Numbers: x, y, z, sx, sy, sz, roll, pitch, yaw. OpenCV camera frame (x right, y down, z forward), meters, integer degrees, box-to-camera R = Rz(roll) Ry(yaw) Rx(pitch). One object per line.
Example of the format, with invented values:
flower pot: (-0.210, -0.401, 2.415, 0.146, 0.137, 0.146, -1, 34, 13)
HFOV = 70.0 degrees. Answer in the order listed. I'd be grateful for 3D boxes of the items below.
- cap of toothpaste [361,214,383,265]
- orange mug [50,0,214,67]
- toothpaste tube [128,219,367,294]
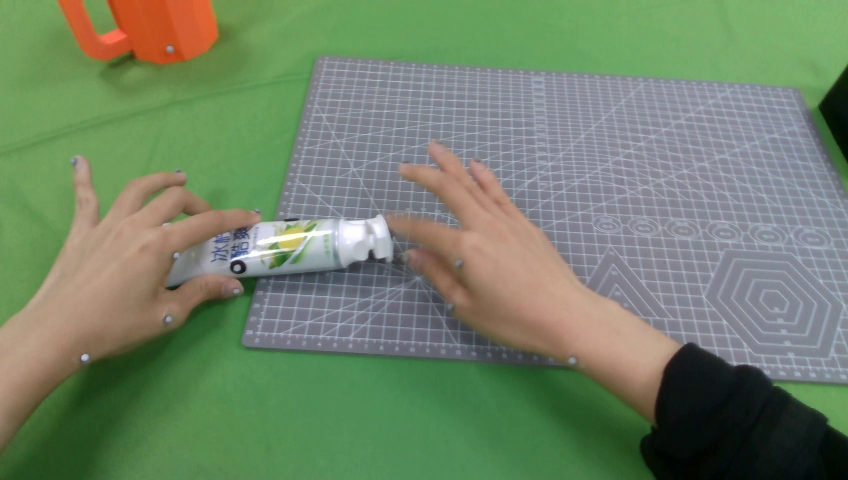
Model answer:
cap of toothpaste: (-0.036, 0.000, 0.418, 0.011, 0.037, 0.037, -11, 55, -11)
orange mug: (-0.254, -0.211, 0.528, 0.083, 0.101, 0.126, 39, 57, 23)
toothpaste tube: (-0.118, 0.005, 0.418, 0.165, 0.035, 0.054, -5, 53, -1)
